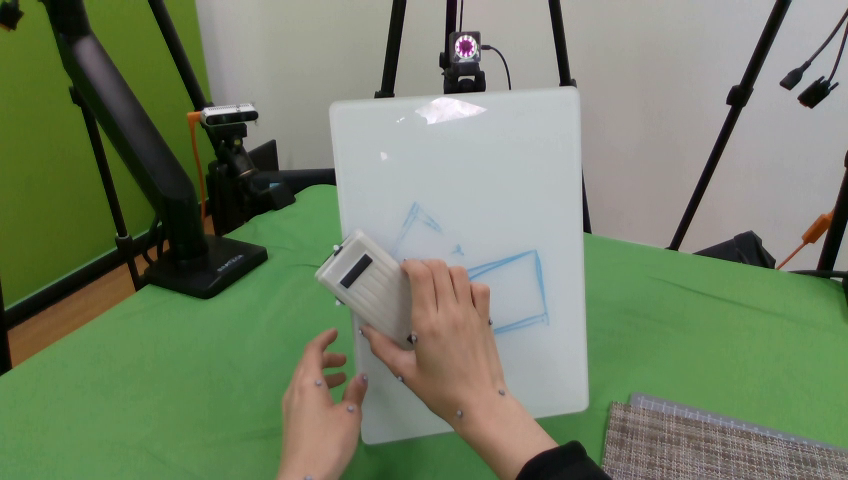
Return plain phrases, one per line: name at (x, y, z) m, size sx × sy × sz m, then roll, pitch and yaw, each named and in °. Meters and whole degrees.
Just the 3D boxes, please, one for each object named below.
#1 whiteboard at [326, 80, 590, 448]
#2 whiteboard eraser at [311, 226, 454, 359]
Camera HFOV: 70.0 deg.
whiteboard at (0.028, 0.013, 0.595) m, size 0.217 × 0.306 × 0.143 m, roll -6°, pitch 10°, yaw -9°
whiteboard eraser at (-0.033, 0.043, 0.499) m, size 0.055 × 0.113 × 0.041 m, roll -50°, pitch 14°, yaw -5°
